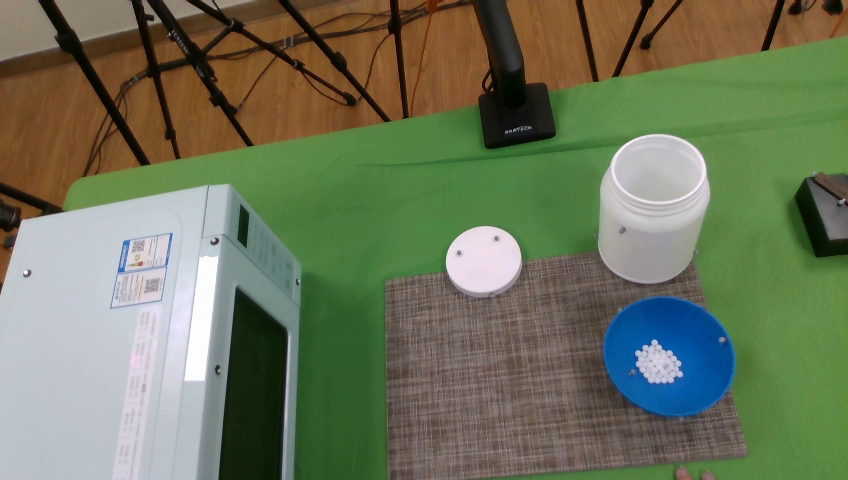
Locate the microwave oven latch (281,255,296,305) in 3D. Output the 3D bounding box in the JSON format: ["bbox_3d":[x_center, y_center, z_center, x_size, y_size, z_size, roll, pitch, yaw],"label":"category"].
[{"bbox_3d":[-0.213,0.062,0.935,0.030,0.030,0.078,-8,62,8],"label":"microwave oven latch"}]

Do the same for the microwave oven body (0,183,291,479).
[{"bbox_3d":[-0.365,0.195,0.787,0.326,0.262,0.437,-9,61,7],"label":"microwave oven body"}]

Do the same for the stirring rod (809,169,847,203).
[{"bbox_3d":[0.577,-0.035,0.781,0.174,0.006,0.014,49,116,29],"label":"stirring rod"}]

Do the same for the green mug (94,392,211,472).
[{"bbox_3d":[-0.341,0.241,0.783,0.125,0.106,0.091,-19,62,-3],"label":"green mug"}]

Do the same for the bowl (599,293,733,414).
[{"bbox_3d":[0.297,0.151,0.763,0.151,0.077,0.150,-6,61,11],"label":"bowl"}]

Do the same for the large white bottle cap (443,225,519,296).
[{"bbox_3d":[0.085,0.030,0.911,0.114,0.018,0.114,-5,61,10],"label":"large white bottle cap"}]

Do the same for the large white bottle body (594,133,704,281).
[{"bbox_3d":[0.294,-0.042,0.804,0.130,0.186,0.129,-6,57,10],"label":"large white bottle body"}]

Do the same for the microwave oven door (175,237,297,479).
[{"bbox_3d":[-0.220,0.205,0.743,0.039,0.246,0.352,-10,61,8],"label":"microwave oven door"}]
